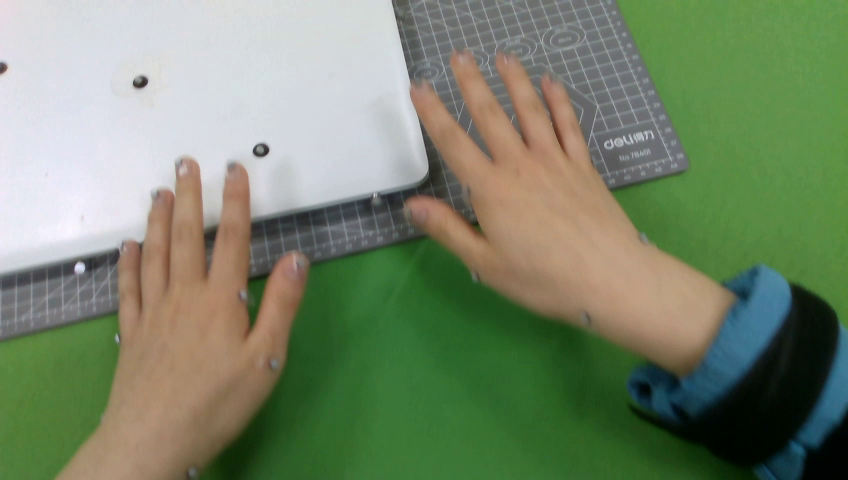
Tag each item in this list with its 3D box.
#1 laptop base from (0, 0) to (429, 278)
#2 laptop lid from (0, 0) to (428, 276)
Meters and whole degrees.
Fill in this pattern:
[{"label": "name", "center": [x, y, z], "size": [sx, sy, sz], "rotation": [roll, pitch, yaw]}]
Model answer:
[{"label": "laptop base", "center": [-0.189, -0.103, 0.423], "size": [0.354, 0.023, 0.234], "rotation": [-13, 72, 0]}, {"label": "laptop lid", "center": [-0.190, -0.106, 0.412], "size": [0.357, 0.013, 0.240], "rotation": [-11, 71, 1]}]
